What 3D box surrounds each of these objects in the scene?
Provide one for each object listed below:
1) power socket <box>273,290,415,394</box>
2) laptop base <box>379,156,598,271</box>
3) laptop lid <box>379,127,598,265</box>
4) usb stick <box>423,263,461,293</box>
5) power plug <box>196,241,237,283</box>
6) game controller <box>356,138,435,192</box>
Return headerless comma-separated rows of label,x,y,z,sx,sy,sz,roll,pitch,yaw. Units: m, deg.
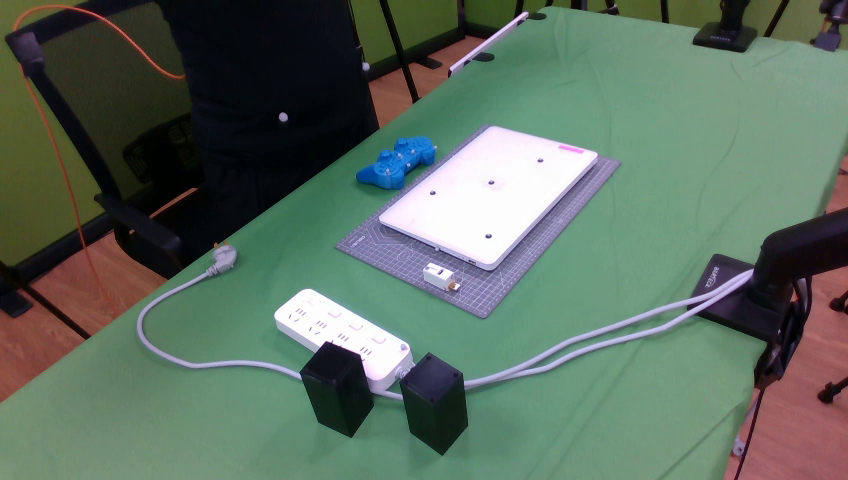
power socket,-0.114,0.133,0.820,0.225,0.033,0.072,24,48,32
laptop base,0.120,-0.085,1.054,0.233,0.023,0.355,21,48,34
laptop lid,0.117,-0.095,1.048,0.239,0.013,0.358,23,49,34
usb stick,0.028,0.058,0.889,0.059,0.027,0.021,24,47,29
power plug,-0.336,0.031,0.968,0.073,0.035,0.052,-18,58,-30
game controller,-0.049,-0.149,1.136,0.096,0.052,0.155,27,51,28
